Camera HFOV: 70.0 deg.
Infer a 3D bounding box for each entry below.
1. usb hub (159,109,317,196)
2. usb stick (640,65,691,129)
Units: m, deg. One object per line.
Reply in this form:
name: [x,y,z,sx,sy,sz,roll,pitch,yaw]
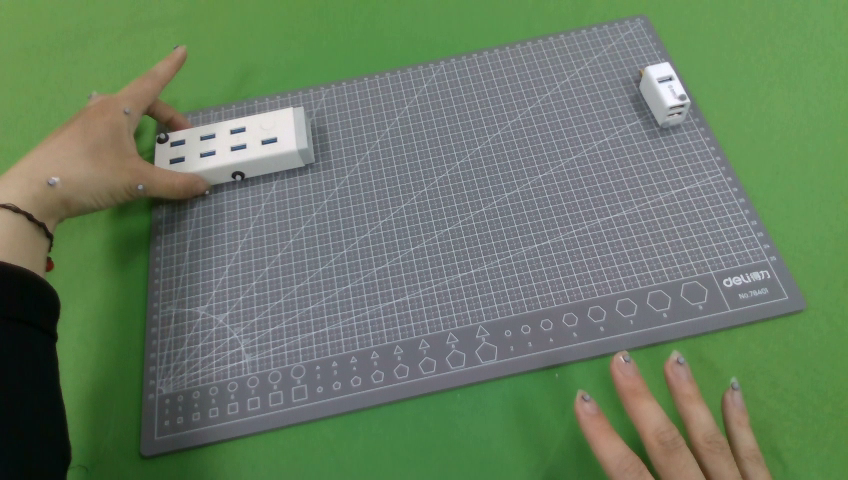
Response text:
usb hub: [-0.155,-0.074,0.504,0.125,0.025,0.049,-11,60,-1]
usb stick: [0.191,-0.120,0.488,0.021,0.027,0.058,-15,57,1]
